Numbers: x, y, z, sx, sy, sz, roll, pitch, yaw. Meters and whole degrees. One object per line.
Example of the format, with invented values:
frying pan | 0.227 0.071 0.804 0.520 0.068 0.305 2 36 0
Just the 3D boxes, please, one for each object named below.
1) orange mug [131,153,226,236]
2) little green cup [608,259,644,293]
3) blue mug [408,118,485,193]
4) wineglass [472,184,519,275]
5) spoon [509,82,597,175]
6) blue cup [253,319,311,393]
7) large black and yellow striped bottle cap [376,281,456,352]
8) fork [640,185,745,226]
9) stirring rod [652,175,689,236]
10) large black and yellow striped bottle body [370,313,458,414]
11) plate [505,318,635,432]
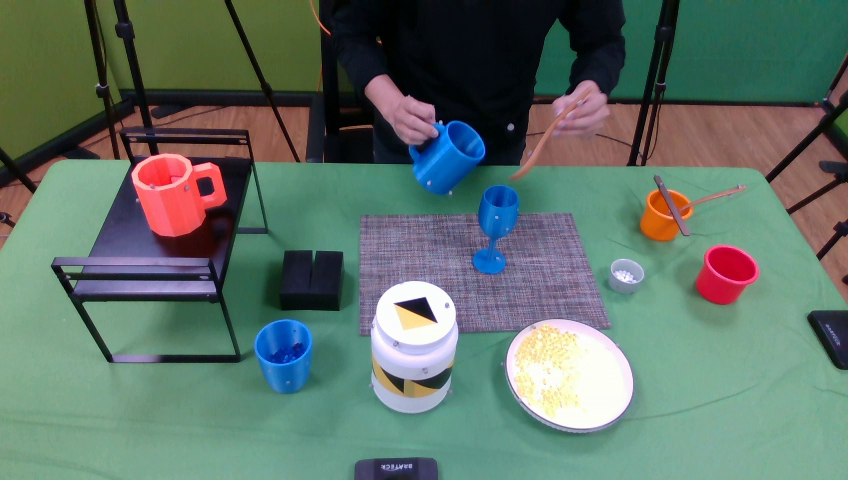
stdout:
orange mug | -0.375 -0.075 0.937 0.126 0.101 0.083 -20 50 -17
little green cup | 0.379 0.070 1.147 0.061 0.039 0.061 3 45 -2
blue mug | 0.027 -0.152 1.028 0.117 0.106 0.082 34 44 -13
wineglass | 0.129 -0.018 1.113 0.074 0.173 0.073 2 46 -2
spoon | 0.201 -0.172 0.953 0.021 0.194 0.041 43 25 12
blue cup | -0.217 0.187 0.943 0.093 0.100 0.092 4 45 -3
large black and yellow striped bottle cap | -0.011 0.107 0.863 0.115 0.019 0.114 2 47 -2
fork | 0.534 -0.069 1.215 0.207 0.019 0.028 -26 27 33
stirring rod | 0.491 -0.072 1.211 0.014 0.006 0.175 -1 46 -6
large black and yellow striped bottle body | -0.017 0.165 0.924 0.131 0.185 0.130 2 46 -2
plate | 0.235 0.221 0.991 0.209 0.038 0.208 2 45 -2
